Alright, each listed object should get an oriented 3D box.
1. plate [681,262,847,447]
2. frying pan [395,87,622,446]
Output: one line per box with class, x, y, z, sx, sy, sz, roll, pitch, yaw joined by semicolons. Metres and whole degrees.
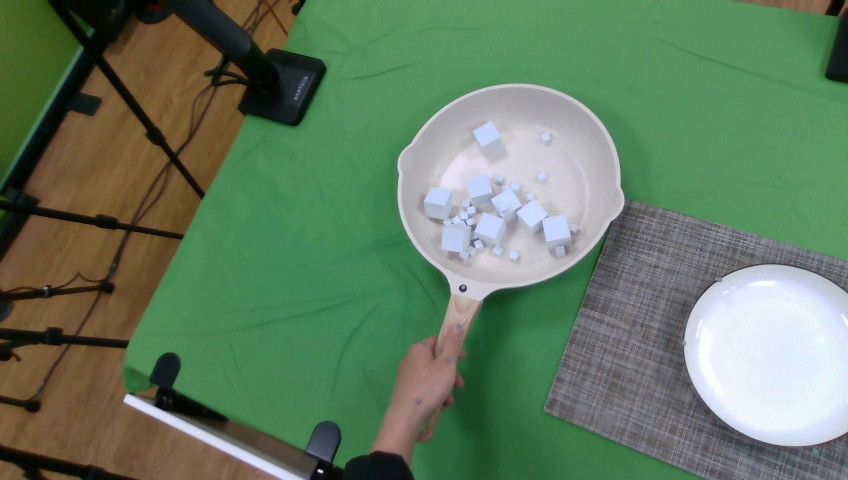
plate;0.404;0.129;0.695;0.207;0.039;0.206;-4;70;13
frying pan;0.071;0.024;0.782;0.305;0.104;0.485;15;67;19
